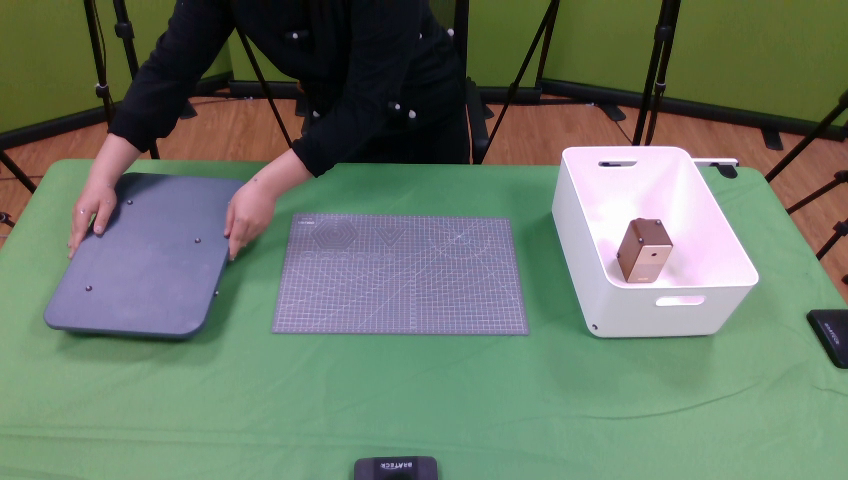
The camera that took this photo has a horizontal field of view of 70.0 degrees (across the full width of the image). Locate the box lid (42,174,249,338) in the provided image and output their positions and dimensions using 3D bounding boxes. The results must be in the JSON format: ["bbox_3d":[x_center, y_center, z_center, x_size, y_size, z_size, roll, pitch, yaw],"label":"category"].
[{"bbox_3d":[-0.483,0.014,1.089,0.263,0.015,0.369,3,48,-1],"label":"box lid"}]

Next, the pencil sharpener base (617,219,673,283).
[{"bbox_3d":[0.412,0.020,1.140,0.061,0.107,0.076,-1,45,-4],"label":"pencil sharpener base"}]

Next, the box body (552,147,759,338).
[{"bbox_3d":[0.400,-0.001,1.131,0.254,0.161,0.361,-1,46,-5],"label":"box body"}]

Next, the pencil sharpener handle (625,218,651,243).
[{"bbox_3d":[0.407,-0.025,1.167,0.036,0.068,0.030,6,44,-11],"label":"pencil sharpener handle"}]
